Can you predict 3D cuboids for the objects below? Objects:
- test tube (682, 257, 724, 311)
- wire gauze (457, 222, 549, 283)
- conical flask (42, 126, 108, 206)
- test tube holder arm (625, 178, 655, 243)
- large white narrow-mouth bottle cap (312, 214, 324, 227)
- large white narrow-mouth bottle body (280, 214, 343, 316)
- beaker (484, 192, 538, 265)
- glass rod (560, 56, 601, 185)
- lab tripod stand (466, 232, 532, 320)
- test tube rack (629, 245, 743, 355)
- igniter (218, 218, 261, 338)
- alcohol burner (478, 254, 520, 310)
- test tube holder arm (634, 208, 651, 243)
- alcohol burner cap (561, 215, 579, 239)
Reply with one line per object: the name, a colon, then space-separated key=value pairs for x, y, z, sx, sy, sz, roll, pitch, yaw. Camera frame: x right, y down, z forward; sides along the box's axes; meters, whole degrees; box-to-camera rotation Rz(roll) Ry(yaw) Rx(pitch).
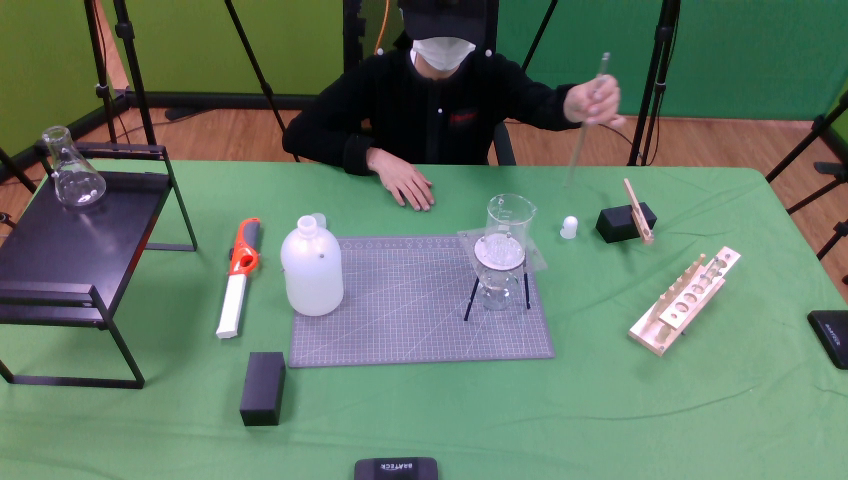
test tube: x=0.475 y=0.080 z=1.037 sx=0.017 sy=0.151 sz=0.017 roll=2 pitch=50 yaw=-2
wire gauze: x=0.131 y=0.016 z=1.017 sx=0.121 sy=0.011 sz=0.124 roll=-10 pitch=44 yaw=-15
conical flask: x=-0.555 y=-0.119 z=0.953 sx=0.075 sy=0.122 sz=0.075 roll=2 pitch=46 yaw=-2
test tube holder arm: x=0.433 y=-0.062 z=1.220 sx=0.013 sy=0.015 sz=0.177 roll=1 pitch=47 yaw=-3
large white narrow-mouth bottle cap: x=-0.219 y=-0.033 z=1.214 sx=0.038 sy=0.024 sz=0.037 roll=2 pitch=46 yaw=-2
large white narrow-mouth bottle body: x=-0.190 y=0.035 z=1.025 sx=0.102 sy=0.195 sz=0.101 roll=2 pitch=46 yaw=-2
beaker: x=0.137 y=-0.016 z=0.980 sx=0.084 sy=0.101 sz=0.073 roll=-6 pitch=45 yaw=-9
glass rod: x=0.231 y=-0.172 z=0.896 sx=0.008 sy=0.200 sz=0.008 roll=8 pitch=29 yaw=-4
lab tripod stand: x=0.125 y=0.059 z=1.065 sx=0.148 sy=0.132 sz=0.147 roll=1 pitch=45 yaw=0
test tube rack: x=0.474 y=0.095 z=1.091 sx=0.242 sy=0.085 sz=0.066 roll=-34 pitch=56 yaw=-31
igniter: x=-0.336 y=0.060 z=1.111 sx=0.057 sy=0.025 sz=0.274 roll=-8 pitch=46 yaw=4
alcohol burner: x=0.134 y=0.068 z=1.071 sx=0.078 sy=0.120 sz=0.077 roll=0 pitch=47 yaw=0
test tube holder arm: x=0.428 y=-0.030 z=1.189 sx=0.010 sy=0.015 sz=0.087 roll=1 pitch=47 yaw=-2
alcohol burner cap: x=0.299 y=-0.030 z=1.231 sx=0.034 sy=0.048 sz=0.033 roll=0 pitch=46 yaw=0
